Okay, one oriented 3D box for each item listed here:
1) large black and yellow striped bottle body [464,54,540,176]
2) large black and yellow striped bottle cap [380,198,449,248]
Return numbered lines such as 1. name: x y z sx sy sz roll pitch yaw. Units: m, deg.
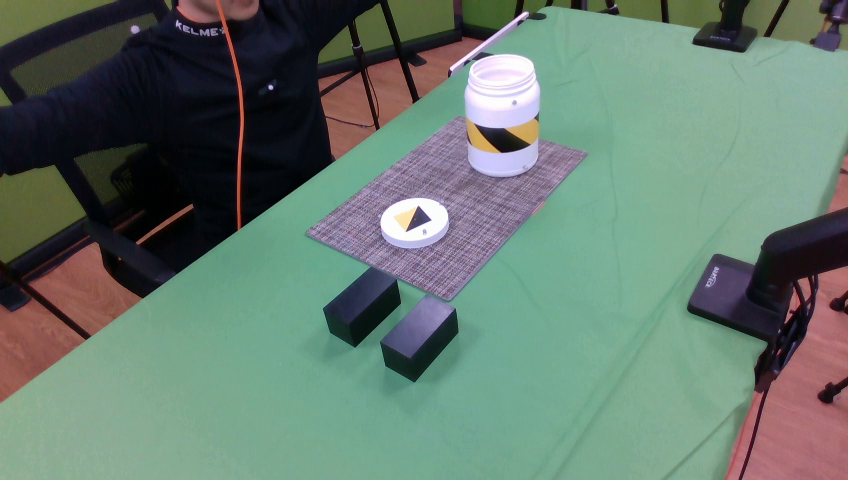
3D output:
1. large black and yellow striped bottle body: 0.139 -0.221 1.075 0.131 0.185 0.130 -4 41 4
2. large black and yellow striped bottle cap: -0.016 -0.030 1.004 0.115 0.019 0.114 -5 40 4
